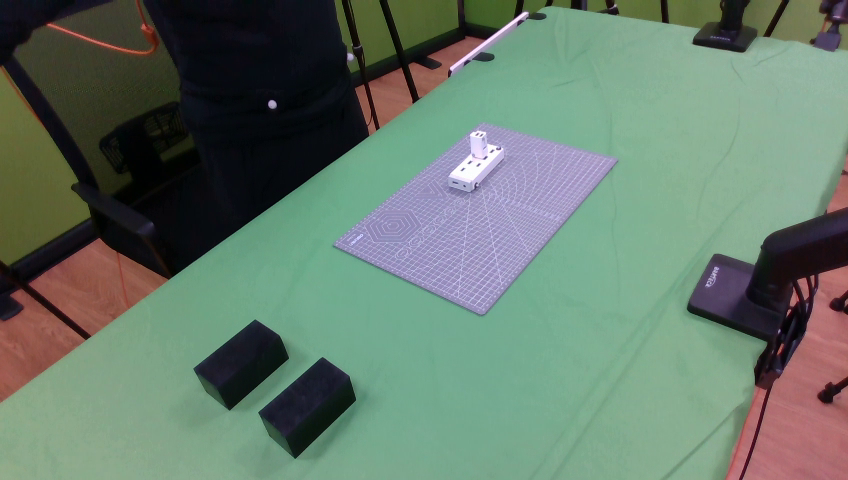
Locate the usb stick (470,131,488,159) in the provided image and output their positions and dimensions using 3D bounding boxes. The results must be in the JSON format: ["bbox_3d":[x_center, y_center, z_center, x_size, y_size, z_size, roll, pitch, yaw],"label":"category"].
[{"bbox_3d":[0.100,-0.166,1.100,0.027,0.059,0.021,18,46,25],"label":"usb stick"}]

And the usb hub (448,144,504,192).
[{"bbox_3d":[0.097,-0.133,1.105,0.049,0.025,0.125,20,48,28],"label":"usb hub"}]
